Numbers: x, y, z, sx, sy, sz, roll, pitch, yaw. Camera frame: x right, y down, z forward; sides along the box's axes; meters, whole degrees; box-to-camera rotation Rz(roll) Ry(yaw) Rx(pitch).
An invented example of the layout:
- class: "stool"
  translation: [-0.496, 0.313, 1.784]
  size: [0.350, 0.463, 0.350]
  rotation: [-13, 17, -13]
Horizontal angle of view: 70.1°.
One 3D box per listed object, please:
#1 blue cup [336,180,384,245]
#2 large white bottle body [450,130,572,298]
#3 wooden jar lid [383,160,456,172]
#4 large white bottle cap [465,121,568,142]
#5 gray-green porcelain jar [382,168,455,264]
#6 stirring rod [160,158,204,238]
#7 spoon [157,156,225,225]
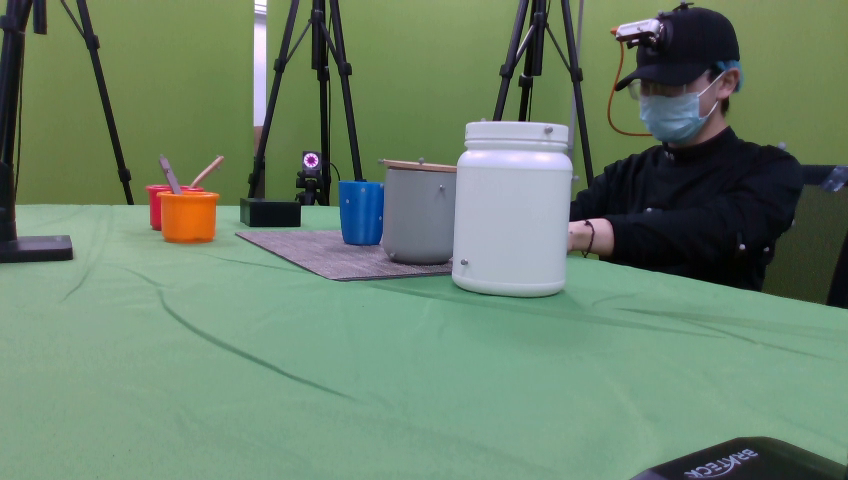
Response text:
- class: "blue cup"
  translation: [-0.100, -0.046, 0.987]
  size: [0.093, 0.100, 0.092]
  rotation: [3, 8, 0]
- class: "large white bottle body"
  translation: [0.099, -0.036, 0.688]
  size: [0.131, 0.184, 0.130]
  rotation: [2, 7, 0]
- class: "wooden jar lid"
  translation: [-0.003, -0.096, 0.827]
  size: [0.108, 0.020, 0.108]
  rotation: [5, 10, 0]
- class: "large white bottle cap"
  translation: [0.103, -0.120, 0.677]
  size: [0.115, 0.018, 0.115]
  rotation: [3, 7, 0]
- class: "gray-green porcelain jar"
  translation: [-0.005, -0.034, 0.834]
  size: [0.106, 0.126, 0.106]
  rotation: [3, 7, 0]
- class: "stirring rod"
  translation: [-0.390, -0.070, 0.972]
  size: [0.014, 0.006, 0.175]
  rotation: [-2, 50, -48]
- class: "spoon"
  translation: [-0.425, -0.094, 1.117]
  size: [0.041, 0.022, 0.194]
  rotation: [4, 51, 30]
